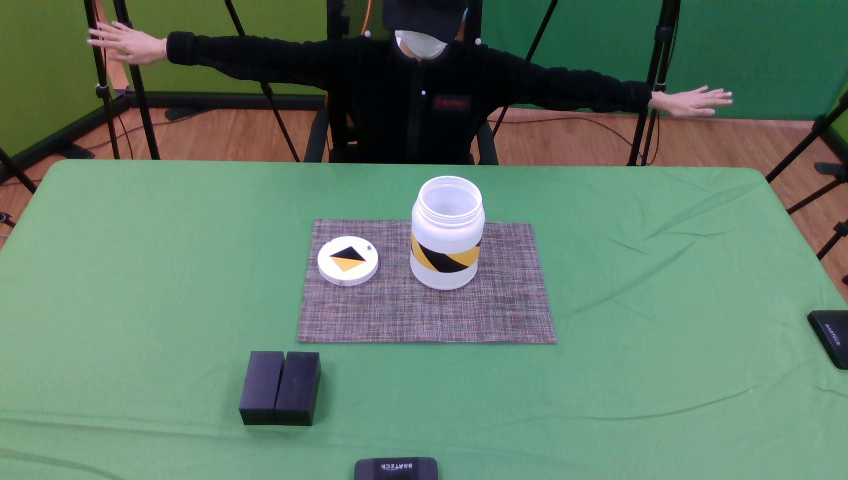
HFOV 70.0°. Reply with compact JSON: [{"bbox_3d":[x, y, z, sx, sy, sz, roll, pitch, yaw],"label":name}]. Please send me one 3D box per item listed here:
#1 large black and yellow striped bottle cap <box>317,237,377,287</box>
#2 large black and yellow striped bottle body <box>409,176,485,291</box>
[{"bbox_3d":[-0.146,0.040,1.148,0.115,0.019,0.114,2,47,-2],"label":"large black and yellow striped bottle cap"},{"bbox_3d":[0.040,-0.012,1.095,0.131,0.185,0.130,2,46,-2],"label":"large black and yellow striped bottle body"}]
